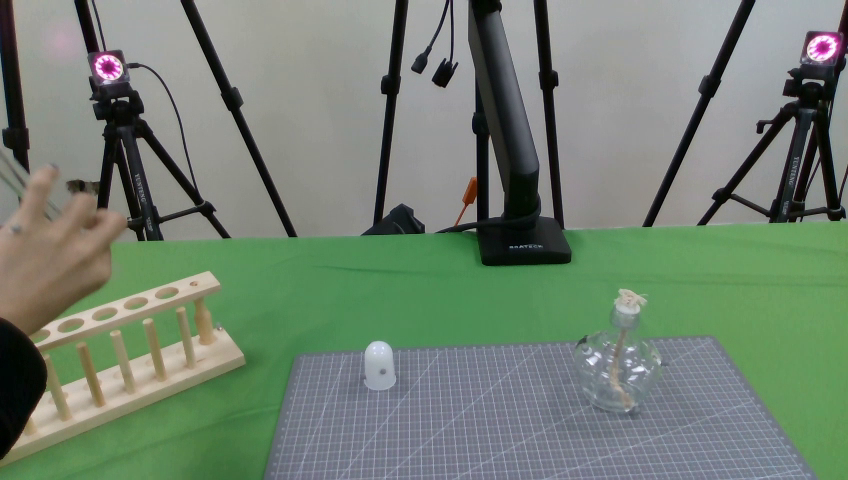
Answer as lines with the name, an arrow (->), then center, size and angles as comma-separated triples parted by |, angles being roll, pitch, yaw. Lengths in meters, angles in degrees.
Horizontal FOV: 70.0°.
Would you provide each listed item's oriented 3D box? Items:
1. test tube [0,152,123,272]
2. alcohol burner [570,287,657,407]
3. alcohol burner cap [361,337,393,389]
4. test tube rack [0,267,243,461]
test tube -> -0.289, -0.027, 0.460 | 0.017, 0.152, 0.017 | -17, 43, 16
alcohol burner -> 0.176, 0.093, 0.555 | 0.078, 0.120, 0.077 | 1, 29, 0
alcohol burner cap -> -0.047, 0.118, 0.594 | 0.034, 0.048, 0.033 | -1, 28, 1
test tube rack -> -0.307, 0.113, 0.576 | 0.243, 0.086, 0.066 | -20, 34, -31
